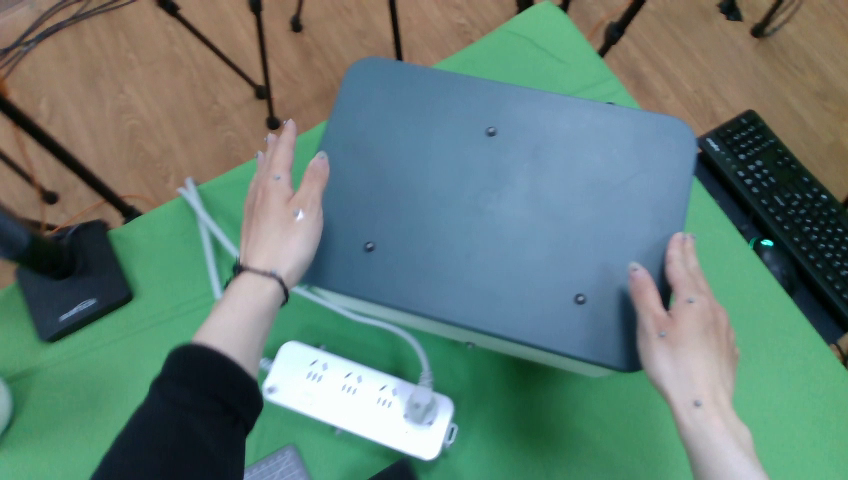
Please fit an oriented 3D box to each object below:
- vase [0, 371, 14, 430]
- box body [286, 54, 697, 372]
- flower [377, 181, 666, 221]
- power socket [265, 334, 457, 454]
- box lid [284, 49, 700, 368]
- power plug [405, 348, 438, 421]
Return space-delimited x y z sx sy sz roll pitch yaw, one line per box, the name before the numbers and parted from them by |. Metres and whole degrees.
vase | -0.528 0.164 0.624 0.098 0.201 0.097 -1 70 3
box body | 0.072 -0.021 0.666 0.363 0.161 0.253 14 73 8
flower | 0.104 -0.042 0.745 0.360 0.038 0.043 0 62 23
power socket | -0.072 0.172 0.682 0.226 0.033 0.072 19 73 10
box lid | 0.069 -0.044 0.596 0.371 0.015 0.262 14 75 8
power plug | 0.007 0.160 0.656 0.035 0.053 0.072 28 71 13
